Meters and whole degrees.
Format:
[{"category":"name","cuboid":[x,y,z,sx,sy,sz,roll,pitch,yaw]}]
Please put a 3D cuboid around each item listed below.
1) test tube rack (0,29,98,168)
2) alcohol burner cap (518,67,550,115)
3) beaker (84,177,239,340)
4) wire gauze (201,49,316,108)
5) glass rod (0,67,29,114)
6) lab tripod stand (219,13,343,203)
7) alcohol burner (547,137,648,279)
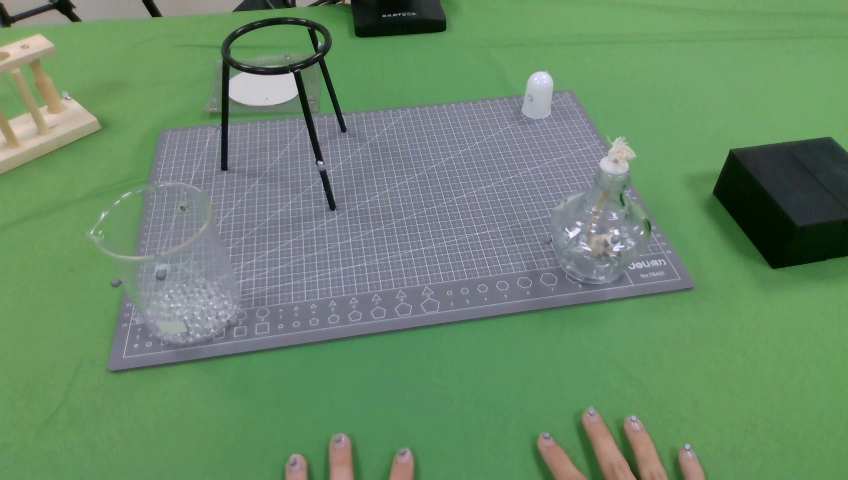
[{"category":"test tube rack","cuboid":[-0.448,-0.103,0.560,0.066,0.086,0.242,34,55,28]},{"category":"alcohol burner cap","cuboid":[0.118,-0.161,0.645,0.034,0.048,0.033,0,46,0]},{"category":"beaker","cuboid":[-0.180,0.018,0.431,0.084,0.101,0.073,-9,46,-8]},{"category":"wire gauze","cuboid":[-0.187,-0.184,0.696,0.125,0.011,0.120,-5,45,-4]},{"category":"glass rod","cuboid":[-0.421,-0.197,0.559,0.008,0.202,0.008,-6,47,6]},{"category":"lab tripod stand","cuboid":[-0.125,-0.120,0.540,0.148,0.133,0.147,-1,48,1]},{"category":"alcohol burner","cuboid":[0.136,-0.027,0.466,0.078,0.120,0.077,0,44,0]}]
